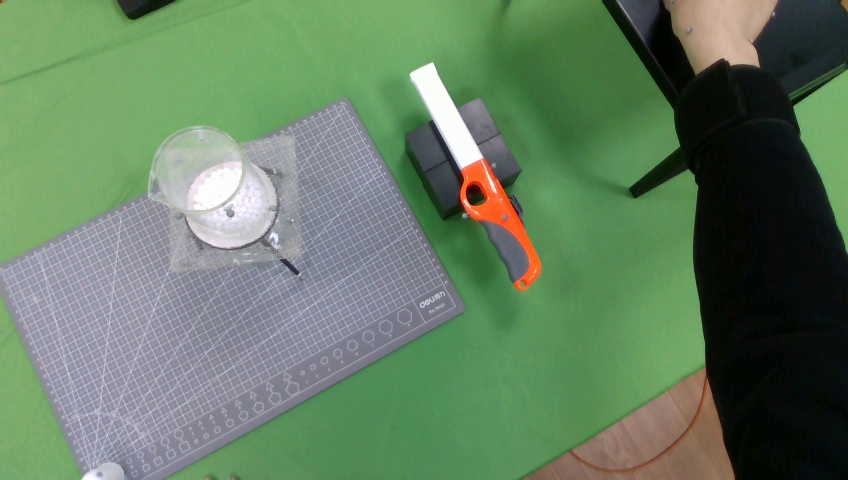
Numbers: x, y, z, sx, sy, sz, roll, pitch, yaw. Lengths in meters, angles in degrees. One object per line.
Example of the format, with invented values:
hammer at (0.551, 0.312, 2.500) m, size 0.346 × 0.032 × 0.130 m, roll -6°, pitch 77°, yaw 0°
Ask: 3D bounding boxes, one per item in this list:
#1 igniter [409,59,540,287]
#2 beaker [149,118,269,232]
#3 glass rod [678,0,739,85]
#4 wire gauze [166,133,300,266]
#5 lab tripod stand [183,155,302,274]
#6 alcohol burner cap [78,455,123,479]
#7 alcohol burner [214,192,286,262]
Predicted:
igniter at (0.056, -0.078, 0.671) m, size 0.057 × 0.025 × 0.275 m, roll -26°, pitch 81°, yaw -4°
beaker at (-0.182, -0.049, 0.529) m, size 0.084 × 0.100 × 0.073 m, roll -28°, pitch 80°, yaw -7°
glass rod at (0.248, -0.233, 0.583) m, size 0.008 × 0.008 × 0.199 m, roll -28°, pitch 83°, yaw -7°
wire gauze at (-0.181, -0.042, 0.577) m, size 0.121 × 0.011 × 0.124 m, roll -5°, pitch 76°, yaw -6°
lab tripod stand at (-0.188, -0.031, 0.641) m, size 0.148 × 0.132 × 0.147 m, roll 0°, pitch 78°, yaw -2°
alcohol burner cap at (-0.339, 0.243, 0.629) m, size 0.034 × 0.048 × 0.033 m, roll 1°, pitch 79°, yaw -4°
alcohol burner at (-0.190, -0.017, 0.648) m, size 0.078 × 0.119 × 0.077 m, roll 0°, pitch 81°, yaw -2°
